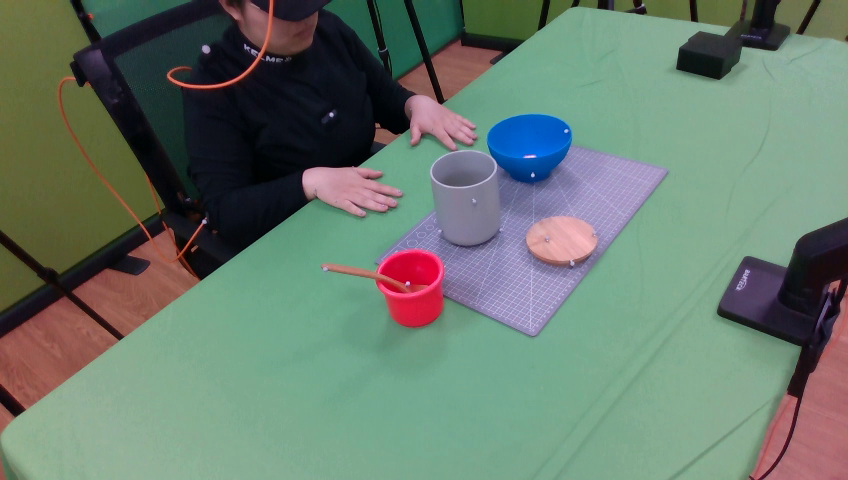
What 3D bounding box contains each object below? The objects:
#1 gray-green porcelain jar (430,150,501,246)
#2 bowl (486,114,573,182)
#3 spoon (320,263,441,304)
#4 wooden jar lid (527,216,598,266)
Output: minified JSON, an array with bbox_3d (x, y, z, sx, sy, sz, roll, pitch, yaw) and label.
[{"bbox_3d":[0.068,-0.062,0.959,0.106,0.127,0.105,-5,40,5],"label":"gray-green porcelain jar"},{"bbox_3d":[0.190,-0.156,1.085,0.151,0.077,0.150,-5,40,5],"label":"bowl"},{"bbox_3d":[-0.056,0.056,0.833,0.195,0.021,0.041,22,27,-35],"label":"spoon"},{"bbox_3d":[0.214,0.003,0.937,0.108,0.021,0.108,-4,40,4],"label":"wooden jar lid"}]
